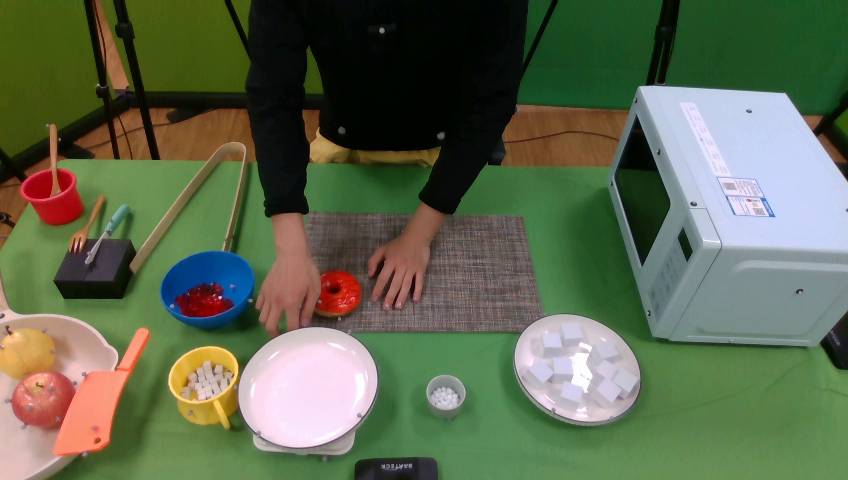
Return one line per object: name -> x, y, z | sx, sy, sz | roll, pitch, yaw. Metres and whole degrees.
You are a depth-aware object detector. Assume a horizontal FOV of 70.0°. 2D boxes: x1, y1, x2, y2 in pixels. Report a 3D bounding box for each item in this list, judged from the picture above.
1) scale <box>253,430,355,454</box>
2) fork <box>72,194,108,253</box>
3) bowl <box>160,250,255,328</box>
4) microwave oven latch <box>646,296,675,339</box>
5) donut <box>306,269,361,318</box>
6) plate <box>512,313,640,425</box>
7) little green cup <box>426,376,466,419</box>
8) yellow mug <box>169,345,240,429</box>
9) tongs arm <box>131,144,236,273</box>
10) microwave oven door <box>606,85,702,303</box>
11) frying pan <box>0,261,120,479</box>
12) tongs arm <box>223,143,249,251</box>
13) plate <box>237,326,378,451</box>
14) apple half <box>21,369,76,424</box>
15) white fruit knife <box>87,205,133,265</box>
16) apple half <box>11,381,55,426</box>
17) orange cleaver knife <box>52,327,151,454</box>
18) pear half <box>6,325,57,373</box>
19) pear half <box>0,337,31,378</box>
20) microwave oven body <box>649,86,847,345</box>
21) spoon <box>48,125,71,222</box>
scale -> -0.175, 0.236, 0.951 | 0.149, 0.032, 0.199 | 4, 46, 0
fork -> -0.634, -0.036, 1.158 | 0.028, 0.019, 0.206 | -8, 32, -8
bowl -> -0.362, 0.098, 1.040 | 0.151, 0.077, 0.150 | 2, 45, -2
microwave oven latch -> 0.412, 0.134, 1.061 | 0.030, 0.029, 0.078 | 4, 45, 1
donut -> -0.160, 0.095, 1.075 | 0.099, 0.048, 0.098 | 4, 45, -3
plate -> 0.246, 0.213, 0.999 | 0.208, 0.039, 0.206 | 2, 46, -2
little green cup -> 0.033, 0.248, 0.950 | 0.061, 0.039, 0.061 | 2, 46, -2
yellow mug -> -0.323, 0.230, 0.922 | 0.100, 0.064, 0.130 | -23, 53, -25
tongs arm -> -0.483, -0.078, 1.235 | 0.028, 0.028, 0.385 | 6, 45, 13
microwave oven door -> 0.422, -0.094, 1.140 | 0.039, 0.245, 0.353 | 2, 46, -1
frying pan -> -0.647, 0.164, 0.936 | 0.307, 0.103, 0.485 | -19, 58, -22
tongs arm -> -0.397, -0.073, 1.232 | 0.051, 0.026, 0.382 | -2, 45, 0
plate -> -0.174, 0.224, 0.917 | 0.209, 0.038, 0.208 | 2, 46, -2
apple half -> -0.546, 0.226, 0.898 | 0.080, 0.075, 0.053 | 30, 48, 27
white fruit knife -> -0.584, -0.013, 1.129 | 0.016, 0.027, 0.206 | 0, 31, -5
apple half -> -0.570, 0.246, 0.875 | 0.081, 0.081, 0.033 | 32, 49, 24
orange cleaver knife -> -0.462, 0.212, 0.879 | 0.077, 0.012, 0.210 | 7, 45, -2
pear half -> -0.607, 0.158, 0.935 | 0.076, 0.110, 0.056 | 30, 51, 19
pear half -> -0.631, 0.183, 0.923 | 0.070, 0.088, 0.031 | 28, 50, 14
microwave oven body -> 0.567, -0.053, 1.118 | 0.326, 0.261, 0.439 | 2, 45, -1
spoon -> -0.719, -0.131, 1.188 | 0.041, 0.021, 0.193 | -3, 90, -7
